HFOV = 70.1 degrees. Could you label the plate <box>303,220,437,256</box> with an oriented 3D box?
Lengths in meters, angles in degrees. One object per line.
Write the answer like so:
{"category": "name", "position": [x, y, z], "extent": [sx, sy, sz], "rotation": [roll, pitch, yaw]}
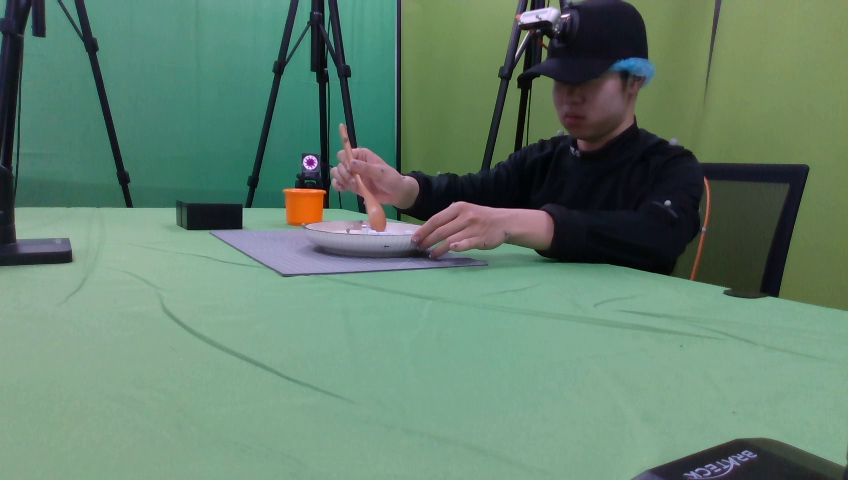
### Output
{"category": "plate", "position": [-0.084, -0.003, 0.951], "extent": [0.209, 0.038, 0.209], "rotation": [3, 7, 0]}

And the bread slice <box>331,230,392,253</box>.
{"category": "bread slice", "position": [-0.088, 0.000, 0.947], "extent": [0.105, 0.019, 0.131], "rotation": [-4, 11, -44]}

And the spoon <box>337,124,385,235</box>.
{"category": "spoon", "position": [-0.104, -0.097, 0.949], "extent": [0.021, 0.193, 0.042], "rotation": [-33, -16, 32]}
